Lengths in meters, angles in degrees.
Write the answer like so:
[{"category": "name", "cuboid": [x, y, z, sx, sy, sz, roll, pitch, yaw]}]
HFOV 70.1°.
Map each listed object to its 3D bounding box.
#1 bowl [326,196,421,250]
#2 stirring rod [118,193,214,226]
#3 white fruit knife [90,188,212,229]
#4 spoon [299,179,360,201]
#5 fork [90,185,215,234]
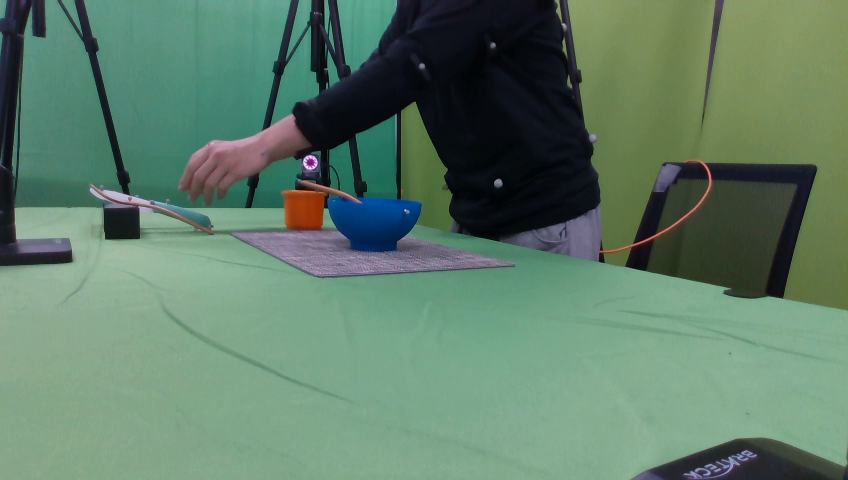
[{"category": "bowl", "cuboid": [-0.080, -0.027, 0.957, 0.151, 0.077, 0.151, 2, 7, 0]}, {"category": "stirring rod", "cuboid": [-0.484, -0.057, 1.143, 0.177, 0.006, 0.014, 20, -3, -29]}, {"category": "white fruit knife", "cuboid": [-0.478, -0.058, 1.073, 0.208, 0.027, 0.016, 17, -4, -30]}, {"category": "spoon", "cuboid": [-0.123, -0.068, 0.993, 0.193, 0.021, 0.042, 25, 9, 17]}, {"category": "fork", "cuboid": [-0.452, -0.049, 1.018, 0.208, 0.018, 0.028, 21, -5, -33]}]
